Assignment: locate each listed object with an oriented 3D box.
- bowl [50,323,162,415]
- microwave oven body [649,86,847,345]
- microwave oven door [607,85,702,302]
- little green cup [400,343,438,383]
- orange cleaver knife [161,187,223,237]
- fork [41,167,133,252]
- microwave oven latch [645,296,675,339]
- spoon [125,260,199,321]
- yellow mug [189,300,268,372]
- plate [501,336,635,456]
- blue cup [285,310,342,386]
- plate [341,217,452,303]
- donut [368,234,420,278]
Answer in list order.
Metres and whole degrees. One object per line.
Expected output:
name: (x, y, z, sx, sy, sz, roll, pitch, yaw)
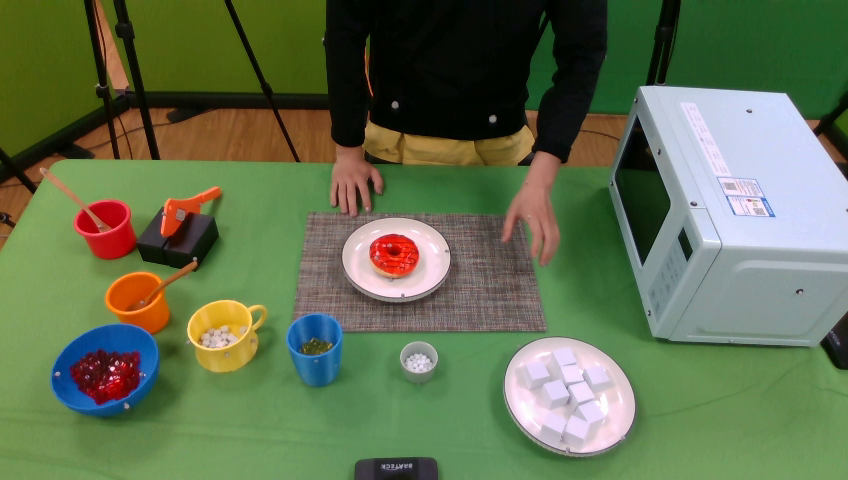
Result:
bowl: (-0.472, 0.209, 0.924, 0.151, 0.077, 0.150, 3, 45, -2)
microwave oven body: (0.567, -0.053, 1.118, 0.326, 0.261, 0.439, 2, 45, -1)
microwave oven door: (0.423, -0.094, 1.140, 0.039, 0.245, 0.353, 2, 46, -1)
little green cup: (-0.010, 0.202, 0.991, 0.061, 0.039, 0.061, 2, 46, -2)
orange cleaver knife: (-0.448, -0.058, 1.181, 0.012, 0.077, 0.211, 13, 17, 6)
fork: (-0.624, -0.056, 1.121, 0.208, 0.018, 0.028, 49, 51, -15)
microwave oven latch: (0.412, 0.134, 1.061, 0.030, 0.029, 0.078, 3, 45, 0)
spoon: (-0.434, 0.083, 1.000, 0.022, 0.194, 0.041, 34, 34, -35)
yellow mug: (-0.316, 0.149, 1.002, 0.131, 0.064, 0.099, -32, 56, -31)
plate: (0.225, 0.248, 0.963, 0.208, 0.039, 0.206, 2, 46, -2)
blue cup: (-0.170, 0.179, 0.958, 0.093, 0.101, 0.092, 2, 44, -1)
plate: (-0.052, 0.040, 1.140, 0.209, 0.038, 0.208, 2, 46, -2)
donut: (-0.056, 0.030, 1.133, 0.099, 0.048, 0.098, 4, 46, -4)
